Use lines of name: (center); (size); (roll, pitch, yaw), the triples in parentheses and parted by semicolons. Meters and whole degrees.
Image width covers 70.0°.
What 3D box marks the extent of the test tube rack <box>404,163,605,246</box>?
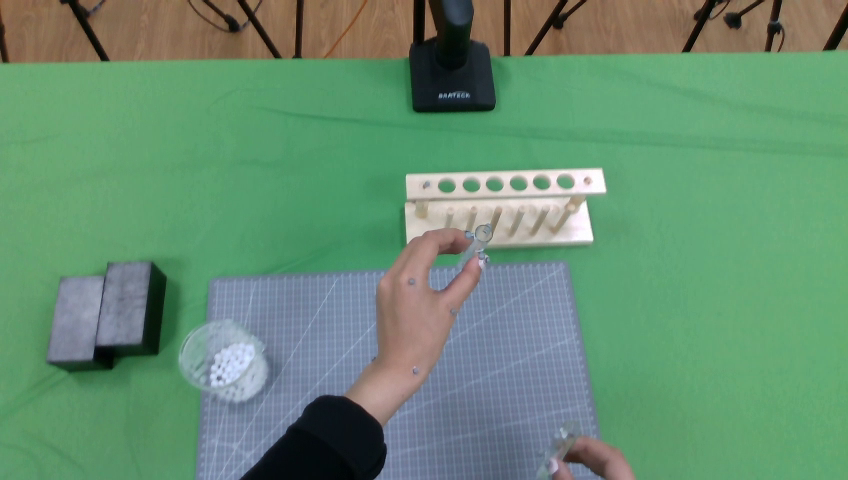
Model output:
test tube rack: (0.097, -0.043, 0.762); (0.242, 0.086, 0.066); (-2, 66, -4)

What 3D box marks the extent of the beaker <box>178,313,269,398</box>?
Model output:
beaker: (-0.209, 0.129, 0.658); (0.084, 0.101, 0.073); (-10, 67, -8)

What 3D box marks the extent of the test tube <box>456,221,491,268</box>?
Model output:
test tube: (0.043, 0.007, 0.558); (0.017, 0.150, 0.017); (1, 78, -3)

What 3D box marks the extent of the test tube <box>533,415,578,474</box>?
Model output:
test tube: (0.117, 0.189, 0.549); (0.017, 0.152, 0.017); (0, 56, 0)
